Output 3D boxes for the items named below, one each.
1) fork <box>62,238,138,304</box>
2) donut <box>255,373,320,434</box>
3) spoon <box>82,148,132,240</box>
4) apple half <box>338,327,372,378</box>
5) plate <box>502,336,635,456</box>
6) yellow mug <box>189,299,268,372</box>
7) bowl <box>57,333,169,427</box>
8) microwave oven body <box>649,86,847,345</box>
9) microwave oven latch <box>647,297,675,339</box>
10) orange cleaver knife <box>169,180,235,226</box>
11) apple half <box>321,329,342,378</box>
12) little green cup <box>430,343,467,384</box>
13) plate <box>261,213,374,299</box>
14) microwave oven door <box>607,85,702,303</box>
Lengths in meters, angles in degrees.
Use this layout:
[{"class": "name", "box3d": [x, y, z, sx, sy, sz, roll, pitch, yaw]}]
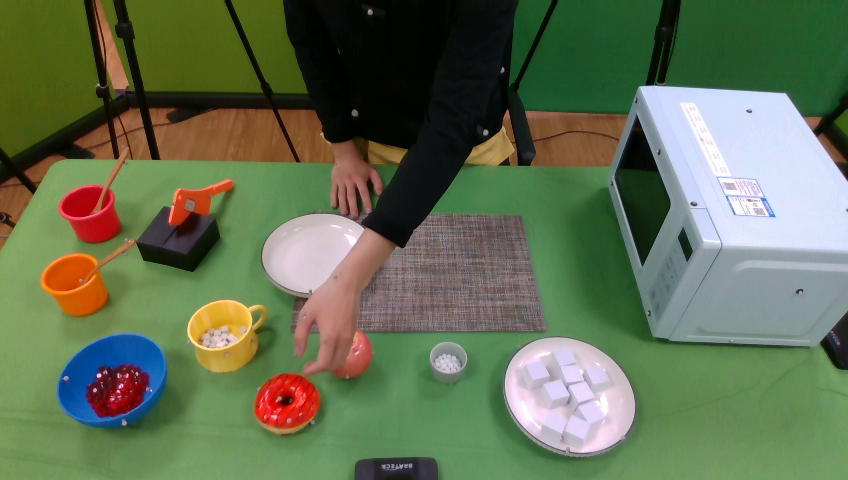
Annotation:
[{"class": "fork", "box3d": [-0.547, 0.053, 1.018, 0.207, 0.019, 0.028, -36, 41, 23]}, {"class": "donut", "box3d": [-0.209, 0.249, 0.928, 0.099, 0.048, 0.098, 3, 43, -3]}, {"class": "spoon", "box3d": [-0.602, -0.088, 1.156, 0.041, 0.022, 0.194, 28, 95, 25]}, {"class": "apple half", "box3d": [-0.111, 0.183, 0.980, 0.053, 0.075, 0.080, -2, 42, -12]}, {"class": "plate", "box3d": [0.225, 0.248, 0.963, 0.208, 0.039, 0.206, 2, 46, -2]}, {"class": "yellow mug", "box3d": [-0.316, 0.148, 1.002, 0.131, 0.064, 0.099, -33, 56, -31]}, {"class": "bowl", "box3d": [-0.456, 0.223, 0.912, 0.151, 0.077, 0.150, 3, 45, -2]}, {"class": "microwave oven body", "box3d": [0.568, -0.053, 1.118, 0.326, 0.261, 0.439, 2, 45, -1]}, {"class": "microwave oven latch", "box3d": [0.413, 0.134, 1.061, 0.030, 0.029, 0.078, 5, 45, 2]}, {"class": "orange cleaver knife", "box3d": [-0.436, -0.076, 1.199, 0.012, 0.077, 0.211, 17, 17, 9]}, {"class": "apple half", "box3d": [-0.149, 0.186, 0.972, 0.033, 0.081, 0.080, -3, 46, -12]}, {"class": "little green cup", "box3d": [0.039, 0.203, 0.994, 0.061, 0.039, 0.061, 2, 46, -2]}, {"class": "plate", "box3d": [-0.198, 0.032, 1.137, 0.209, 0.038, 0.208, 2, 46, -2]}, {"class": "microwave oven door", "box3d": [0.423, -0.094, 1.141, 0.039, 0.245, 0.353, 2, 46, -1]}]
